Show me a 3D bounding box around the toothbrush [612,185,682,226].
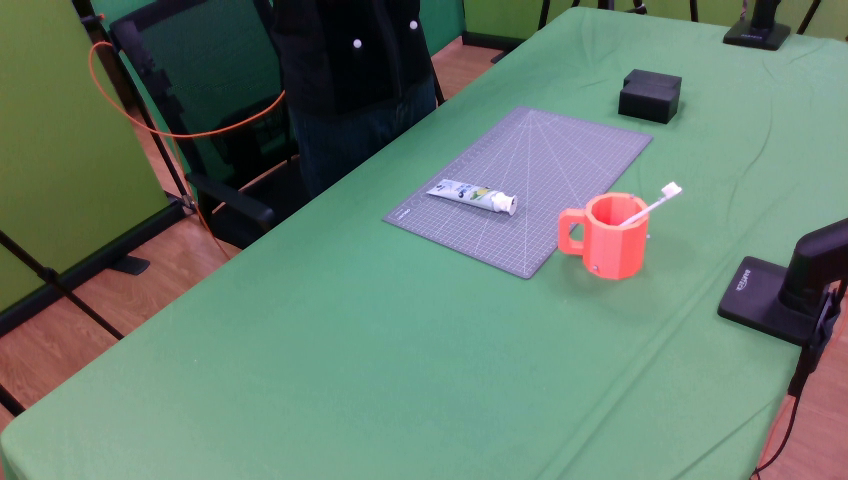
[{"bbox_3d":[0.294,-0.035,0.847,0.017,0.181,0.014,28,64,-8],"label":"toothbrush"}]

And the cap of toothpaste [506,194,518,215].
[{"bbox_3d":[0.146,-0.060,1.007,0.011,0.037,0.037,14,46,22],"label":"cap of toothpaste"}]

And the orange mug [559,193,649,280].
[{"bbox_3d":[0.261,-0.008,0.884,0.126,0.101,0.083,9,43,14],"label":"orange mug"}]

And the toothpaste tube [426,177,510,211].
[{"bbox_3d":[0.083,-0.081,1.054,0.164,0.034,0.055,18,40,34],"label":"toothpaste tube"}]
